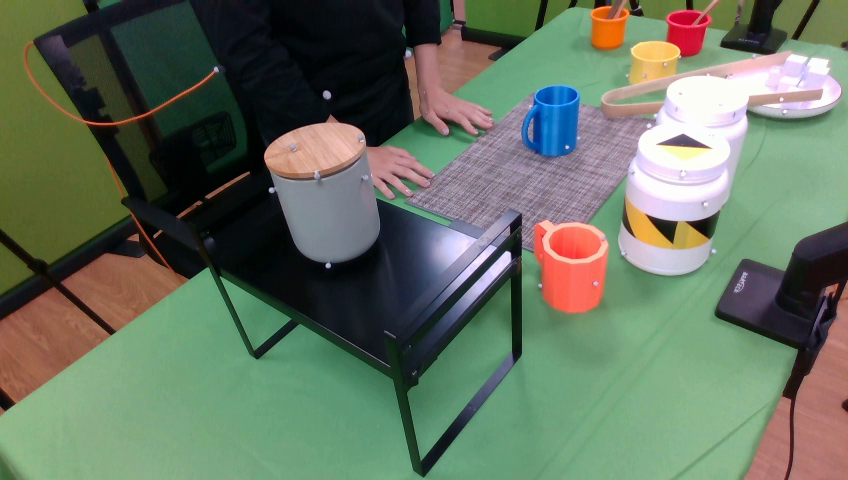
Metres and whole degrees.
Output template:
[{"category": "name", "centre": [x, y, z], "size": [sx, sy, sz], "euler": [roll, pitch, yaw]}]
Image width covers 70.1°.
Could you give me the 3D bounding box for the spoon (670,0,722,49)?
[{"category": "spoon", "centre": [0.639, -0.510, 1.380], "size": [0.193, 0.022, 0.041], "euler": [-49, 40, 19]}]

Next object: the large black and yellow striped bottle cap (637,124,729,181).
[{"category": "large black and yellow striped bottle cap", "centre": [0.346, -0.119, 0.810], "size": [0.115, 0.019, 0.114], "euler": [-5, 41, 5]}]

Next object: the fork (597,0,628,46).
[{"category": "fork", "centre": [0.479, -0.558, 1.455], "size": [0.028, 0.019, 0.207], "euler": [35, 100, 38]}]

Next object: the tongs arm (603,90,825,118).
[{"category": "tongs arm", "centre": [0.546, -0.262, 1.163], "size": [0.386, 0.028, 0.028], "euler": [-1, 49, 18]}]

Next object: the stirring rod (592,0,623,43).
[{"category": "stirring rod", "centre": [0.460, -0.557, 1.461], "size": [0.014, 0.176, 0.006], "euler": [35, 11, 22]}]

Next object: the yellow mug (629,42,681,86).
[{"category": "yellow mug", "centre": [0.495, -0.389, 1.321], "size": [0.100, 0.064, 0.130], "euler": [-14, 40, -6]}]

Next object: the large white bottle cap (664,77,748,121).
[{"category": "large white bottle cap", "centre": [0.421, -0.212, 0.905], "size": [0.115, 0.018, 0.114], "euler": [-4, 40, 4]}]

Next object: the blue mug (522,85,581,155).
[{"category": "blue mug", "centre": [0.233, -0.218, 1.127], "size": [0.117, 0.106, 0.081], "euler": [-23, 43, -16]}]

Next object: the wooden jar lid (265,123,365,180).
[{"category": "wooden jar lid", "centre": [-0.115, -0.092, 0.651], "size": [0.108, 0.021, 0.108], "euler": [-4, 38, 4]}]

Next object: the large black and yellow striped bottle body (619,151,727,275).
[{"category": "large black and yellow striped bottle body", "centre": [0.354, -0.056, 0.865], "size": [0.131, 0.185, 0.130], "euler": [-4, 41, 4]}]

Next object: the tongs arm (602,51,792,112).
[{"category": "tongs arm", "centre": [0.552, -0.320, 1.224], "size": [0.384, 0.027, 0.050], "euler": [-10, 43, 7]}]

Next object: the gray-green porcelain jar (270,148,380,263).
[{"category": "gray-green porcelain jar", "centre": [-0.109, -0.045, 0.692], "size": [0.106, 0.127, 0.105], "euler": [-4, 40, 4]}]

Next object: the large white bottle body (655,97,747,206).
[{"category": "large white bottle body", "centre": [0.430, -0.148, 0.959], "size": [0.130, 0.185, 0.130], "euler": [-4, 41, 4]}]

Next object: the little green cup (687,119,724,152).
[{"category": "little green cup", "centre": [0.514, -0.191, 1.109], "size": [0.061, 0.039, 0.061], "euler": [-5, 40, 5]}]

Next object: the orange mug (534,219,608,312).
[{"category": "orange mug", "centre": [0.200, 0.027, 0.858], "size": [0.084, 0.101, 0.125], "euler": [-24, 47, -18]}]

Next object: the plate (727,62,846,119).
[{"category": "plate", "centre": [0.709, -0.292, 1.197], "size": [0.207, 0.039, 0.206], "euler": [-4, 40, 4]}]
